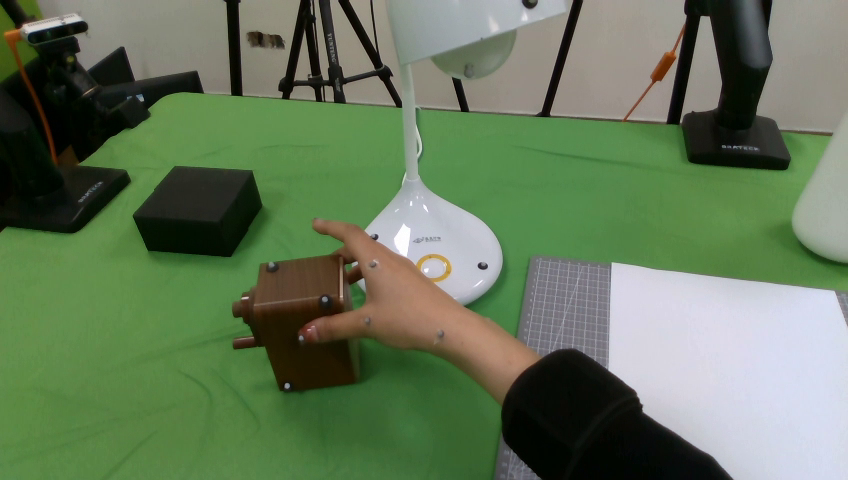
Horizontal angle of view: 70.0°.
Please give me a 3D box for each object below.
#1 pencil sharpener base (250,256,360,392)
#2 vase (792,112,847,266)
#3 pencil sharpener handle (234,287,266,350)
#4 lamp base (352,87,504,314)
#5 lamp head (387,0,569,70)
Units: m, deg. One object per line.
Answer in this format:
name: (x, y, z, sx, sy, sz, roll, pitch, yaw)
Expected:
pencil sharpener base: (-0.099, 0.074, 0.518, 0.077, 0.108, 0.060, -7, 40, -3)
vase: (0.434, -0.071, 0.585, 0.098, 0.202, 0.097, -3, 38, 2)
pencil sharpener handle: (-0.151, 0.070, 0.508, 0.031, 0.068, 0.035, -7, 44, -3)
lamp base: (-0.004, -0.047, 0.602, 0.161, 0.182, 0.177, -13, 38, -12)
lamp head: (0.021, -0.178, 0.377, 0.112, 0.123, 0.112, -19, 11, 4)
